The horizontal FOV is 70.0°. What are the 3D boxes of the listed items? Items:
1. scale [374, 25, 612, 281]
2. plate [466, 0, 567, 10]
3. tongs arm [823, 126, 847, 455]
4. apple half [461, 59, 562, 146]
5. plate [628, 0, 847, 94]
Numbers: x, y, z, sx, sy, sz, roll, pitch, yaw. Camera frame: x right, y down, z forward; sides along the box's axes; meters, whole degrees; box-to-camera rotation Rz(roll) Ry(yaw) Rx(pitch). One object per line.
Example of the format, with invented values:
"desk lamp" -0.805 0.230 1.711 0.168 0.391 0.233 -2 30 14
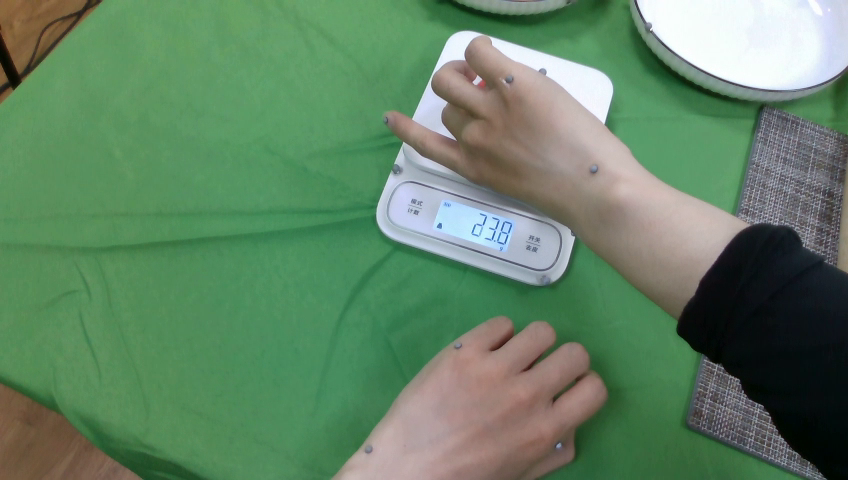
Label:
"scale" 0.059 -0.076 0.478 0.148 0.032 0.200 18 65 5
"plate" 0.079 -0.294 0.582 0.208 0.039 0.206 2 64 -3
"tongs arm" 0.341 -0.025 0.471 0.028 0.028 0.385 22 65 3
"apple half" 0.072 -0.110 0.458 0.081 0.033 0.080 4 58 -7
"plate" 0.287 -0.212 0.556 0.209 0.038 0.207 2 64 -3
